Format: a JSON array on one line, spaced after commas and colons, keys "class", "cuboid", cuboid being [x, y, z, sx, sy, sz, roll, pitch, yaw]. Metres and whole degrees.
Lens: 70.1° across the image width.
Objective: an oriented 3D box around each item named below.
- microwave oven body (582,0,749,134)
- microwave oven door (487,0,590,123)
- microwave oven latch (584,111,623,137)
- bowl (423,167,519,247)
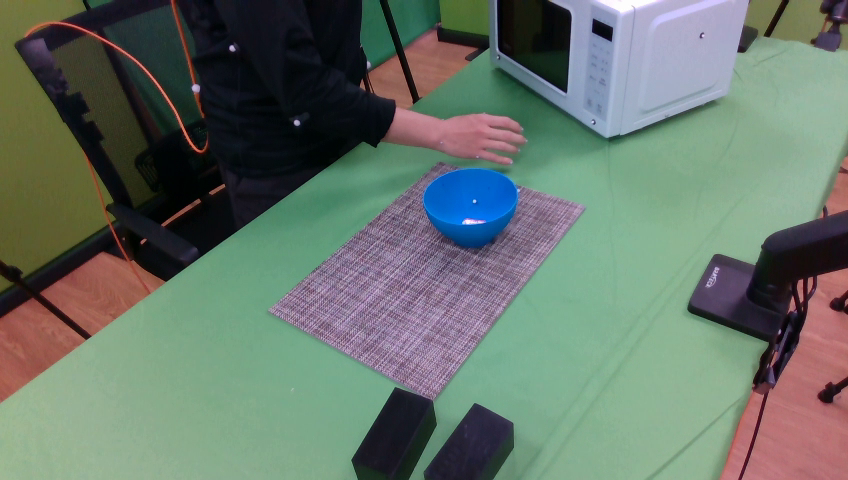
[{"class": "microwave oven body", "cuboid": [0.382, -0.445, 1.246, 0.327, 0.261, 0.437, -22, 42, -16]}, {"class": "microwave oven door", "cuboid": [0.232, -0.420, 1.231, 0.039, 0.245, 0.352, -22, 43, -16]}, {"class": "microwave oven latch", "cuboid": [0.337, -0.222, 1.142, 0.030, 0.029, 0.078, -21, 42, -14]}, {"class": "bowl", "cuboid": [0.075, -0.041, 0.959, 0.151, 0.077, 0.150, -4, 40, 4]}]
